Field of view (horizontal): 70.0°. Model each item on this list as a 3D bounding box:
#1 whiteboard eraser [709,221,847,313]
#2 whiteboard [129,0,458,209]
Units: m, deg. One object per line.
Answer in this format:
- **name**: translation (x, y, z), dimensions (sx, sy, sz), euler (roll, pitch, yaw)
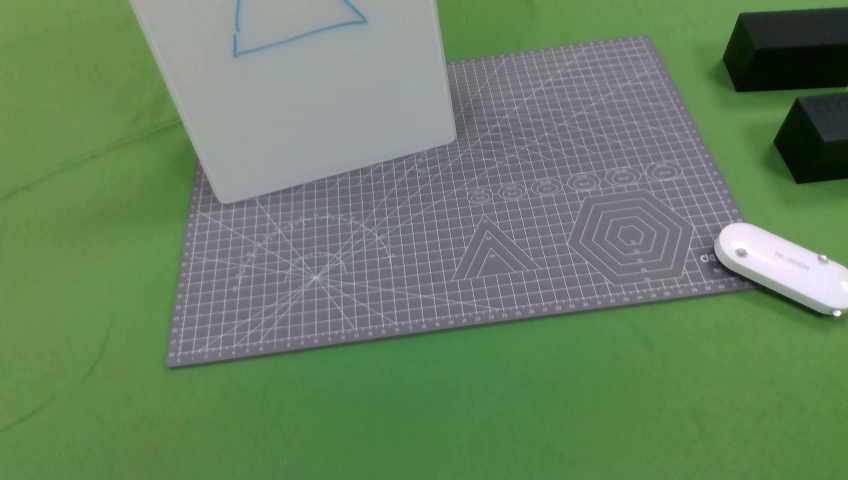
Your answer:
- **whiteboard eraser**: translation (0.262, 0.019, 0.441), dimensions (0.100, 0.019, 0.041), euler (28, 61, 20)
- **whiteboard**: translation (-0.113, -0.215, 0.497), dimensions (0.217, 0.308, 0.142), euler (-16, 36, -5)
